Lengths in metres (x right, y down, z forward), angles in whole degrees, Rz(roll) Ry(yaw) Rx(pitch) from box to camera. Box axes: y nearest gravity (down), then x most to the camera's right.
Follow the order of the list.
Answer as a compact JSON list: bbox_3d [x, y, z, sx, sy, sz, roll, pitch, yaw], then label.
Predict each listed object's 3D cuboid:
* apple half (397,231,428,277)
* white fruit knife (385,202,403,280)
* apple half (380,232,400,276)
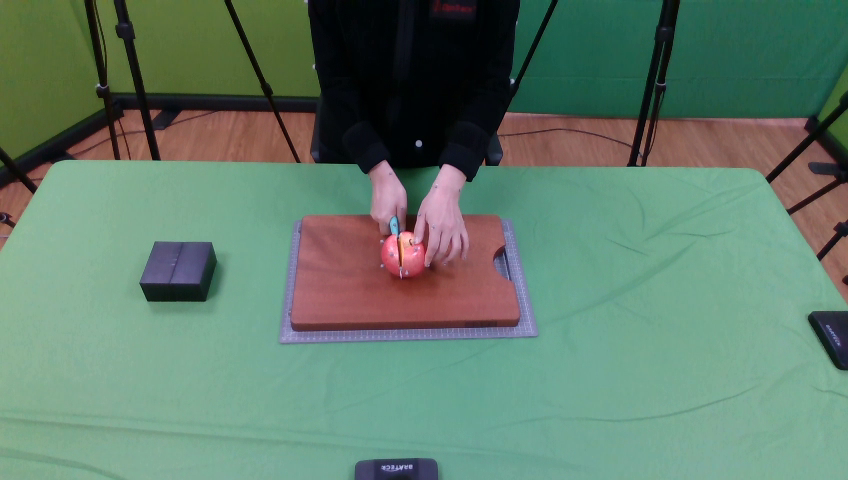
[{"bbox_3d":[-0.021,0.027,1.096,0.053,0.075,0.080,1,44,-11],"label":"apple half"},{"bbox_3d":[-0.054,-0.004,1.126,0.016,0.027,0.206,-10,45,-3],"label":"white fruit knife"},{"bbox_3d":[-0.063,0.030,1.090,0.033,0.082,0.081,-6,47,-6],"label":"apple half"}]
